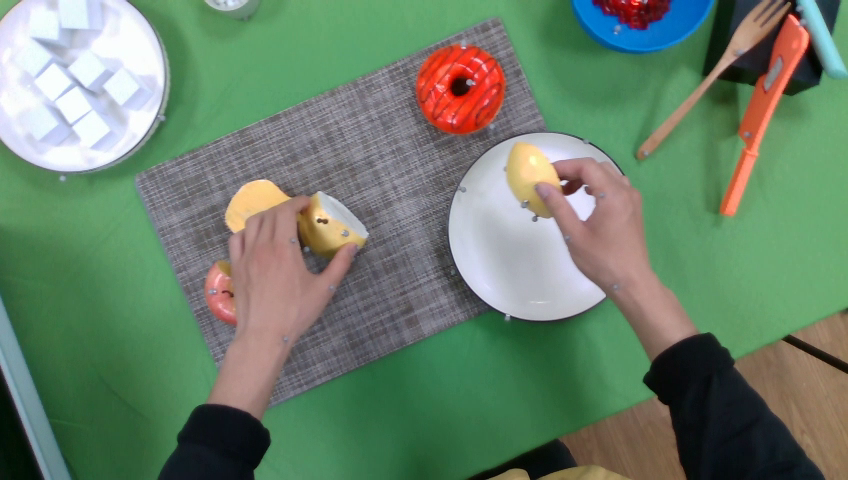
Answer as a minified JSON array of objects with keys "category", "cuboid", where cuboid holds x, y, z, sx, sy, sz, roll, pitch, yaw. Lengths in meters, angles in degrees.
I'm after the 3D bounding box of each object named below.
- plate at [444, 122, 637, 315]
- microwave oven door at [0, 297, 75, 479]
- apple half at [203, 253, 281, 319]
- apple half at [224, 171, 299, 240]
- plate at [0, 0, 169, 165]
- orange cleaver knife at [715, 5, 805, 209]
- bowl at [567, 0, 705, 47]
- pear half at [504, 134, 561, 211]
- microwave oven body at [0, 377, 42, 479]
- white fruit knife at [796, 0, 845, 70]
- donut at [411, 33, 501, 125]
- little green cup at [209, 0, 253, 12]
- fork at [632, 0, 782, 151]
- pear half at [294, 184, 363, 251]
[{"category":"plate","cuboid":[0.126,-0.023,0.668,0.209,0.038,0.209,0,91,0]},{"category":"microwave oven door","cuboid":[-0.430,0.212,0.559,0.039,0.244,0.355,-22,90,0]},{"category":"apple half","cuboid":[-0.201,0.055,0.653,0.081,0.074,0.053,31,95,-4]},{"category":"apple half","cuboid":[-0.180,-0.032,0.668,0.081,0.033,0.080,4,68,-9]},{"category":"plate","cuboid":[-0.382,-0.185,0.671,0.208,0.039,0.207,0,91,0]},{"category":"orange cleaver knife","cuboid":[0.351,-0.137,0.646,0.012,0.077,0.212,13,117,5]},{"category":"bowl","cuboid":[0.216,-0.273,0.646,0.151,0.077,0.151,0,92,0]},{"category":"pear half","cuboid":[0.099,-0.059,0.588,0.031,0.069,0.089,-27,125,-13]},{"category":"microwave oven body","cuboid":[-0.582,0.224,0.565,0.326,0.260,0.441,-21,91,0]},{"category":"white fruit knife","cuboid":[0.387,-0.271,0.627,0.027,0.016,0.207,-22,89,-28]},{"category":"donut","cuboid":[0.035,-0.175,0.662,0.099,0.048,0.099,0,93,3]},{"category":"little green cup","cuboid":[-0.216,-0.284,0.668,0.061,0.038,0.061,0,91,1]},{"category":"fork","cuboid":[0.295,-0.177,0.643,0.028,0.018,0.208,35,111,-8]},{"category":"pear half","cuboid":[-0.107,-0.018,0.632,0.076,0.110,0.056,38,93,4]}]
